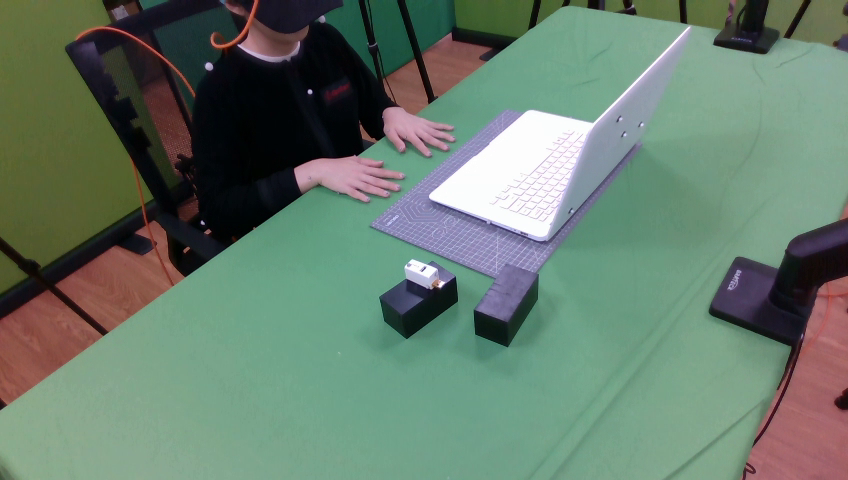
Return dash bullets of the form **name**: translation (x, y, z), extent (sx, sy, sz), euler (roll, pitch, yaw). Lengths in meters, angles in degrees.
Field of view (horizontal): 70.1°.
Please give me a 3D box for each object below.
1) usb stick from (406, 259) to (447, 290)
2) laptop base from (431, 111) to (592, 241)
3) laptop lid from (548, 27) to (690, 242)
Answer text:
- **usb stick**: translation (0.005, 0.050, 0.837), extent (0.059, 0.027, 0.021), euler (24, 48, 29)
- **laptop base**: translation (0.206, -0.130, 1.100), extent (0.233, 0.023, 0.355), euler (20, 48, 34)
- **laptop lid**: translation (0.309, -0.168, 0.949), extent (0.013, 0.242, 0.358), euler (33, 52, 20)
